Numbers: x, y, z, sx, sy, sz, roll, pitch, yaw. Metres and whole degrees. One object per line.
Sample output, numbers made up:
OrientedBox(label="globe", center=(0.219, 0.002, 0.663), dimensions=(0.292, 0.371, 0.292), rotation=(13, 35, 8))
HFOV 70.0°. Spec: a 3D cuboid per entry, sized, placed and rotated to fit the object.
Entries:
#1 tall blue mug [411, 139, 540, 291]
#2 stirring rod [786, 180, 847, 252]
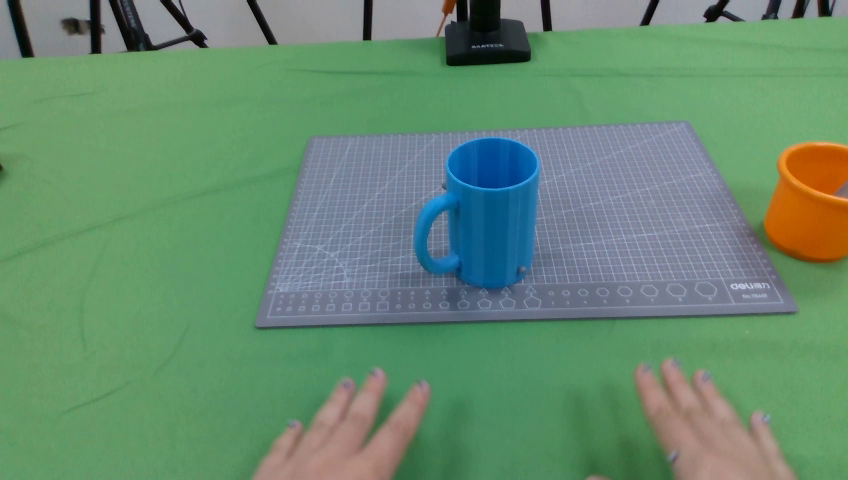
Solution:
OrientedBox(label="tall blue mug", center=(0.048, -0.011, 0.510), dimensions=(0.077, 0.109, 0.107), rotation=(21, 47, 24))
OrientedBox(label="stirring rod", center=(0.379, -0.058, 0.518), dimensions=(0.176, 0.006, 0.014), rotation=(-51, 38, 13))
